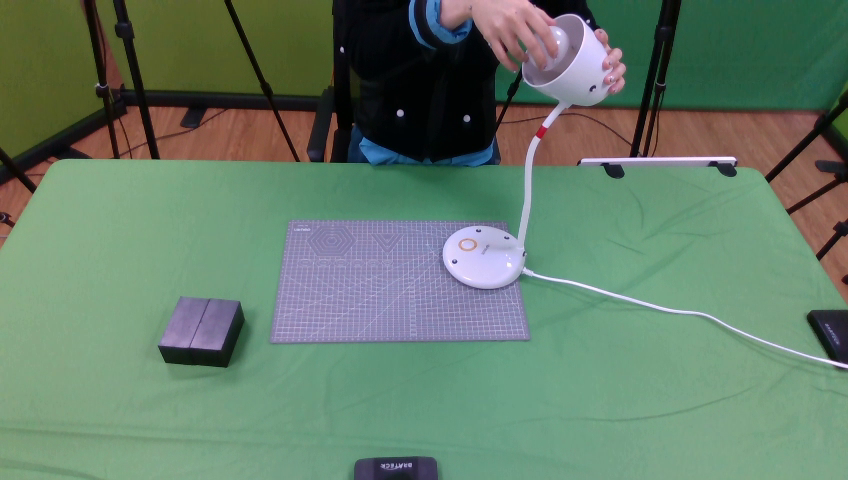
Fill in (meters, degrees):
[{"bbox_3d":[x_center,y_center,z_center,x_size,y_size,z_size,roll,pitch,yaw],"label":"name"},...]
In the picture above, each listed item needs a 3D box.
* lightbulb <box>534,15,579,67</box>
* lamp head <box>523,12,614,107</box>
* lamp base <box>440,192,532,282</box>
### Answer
[{"bbox_3d":[0.200,-0.273,0.867,0.059,0.108,0.059,-28,42,29],"label":"lightbulb"},{"bbox_3d":[0.219,-0.248,0.885,0.112,0.123,0.111,-25,47,30],"label":"lamp head"},{"bbox_3d":[0.127,-0.032,1.123,0.179,0.181,0.159,11,47,2],"label":"lamp base"}]
